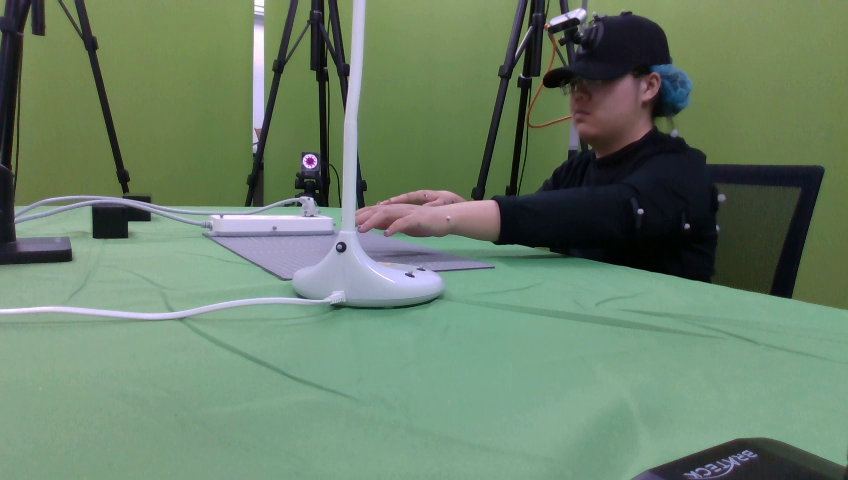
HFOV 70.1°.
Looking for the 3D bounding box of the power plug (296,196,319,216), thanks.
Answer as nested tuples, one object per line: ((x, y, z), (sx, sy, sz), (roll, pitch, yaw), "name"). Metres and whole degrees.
((-0.219, -0.057, 1.142), (0.035, 0.052, 0.072), (0, 6, -19), "power plug")

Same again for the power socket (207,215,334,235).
((-0.270, -0.029, 1.082), (0.228, 0.032, 0.072), (-2, 7, -30), "power socket")

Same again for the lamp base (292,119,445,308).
((-0.056, -0.030, 0.616), (0.160, 0.180, 0.179), (3, 10, 8), "lamp base")
